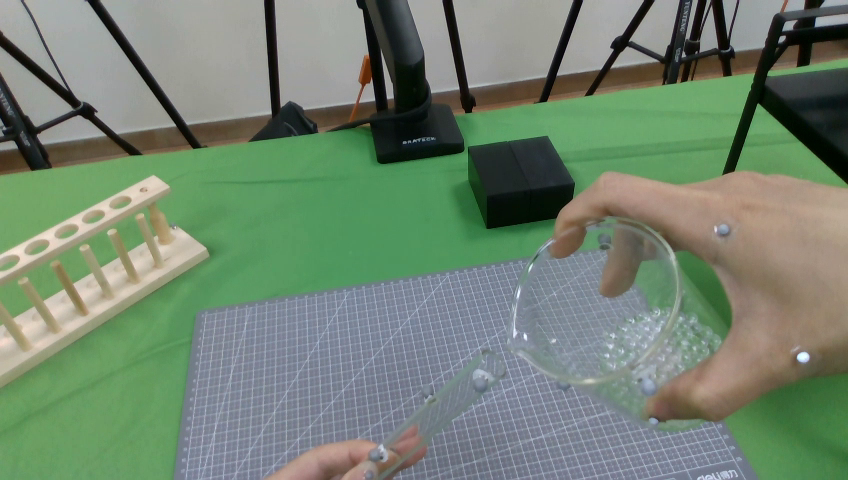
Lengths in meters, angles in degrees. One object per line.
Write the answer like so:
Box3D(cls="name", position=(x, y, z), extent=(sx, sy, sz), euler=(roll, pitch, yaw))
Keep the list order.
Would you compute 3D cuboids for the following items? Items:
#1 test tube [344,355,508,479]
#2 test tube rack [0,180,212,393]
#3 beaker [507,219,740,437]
Box3D(cls="test tube", position=(-0.011, 0.107, 0.310), extent=(0.017, 0.151, 0.017), euler=(31, 30, -20))
Box3D(cls="test tube rack", position=(-0.347, 0.041, 0.612), extent=(0.066, 0.086, 0.242), euler=(30, 52, 32))
Box3D(cls="beaker", position=(0.096, 0.048, 0.283), extent=(0.084, 0.101, 0.073), euler=(-33, 45, 23))
